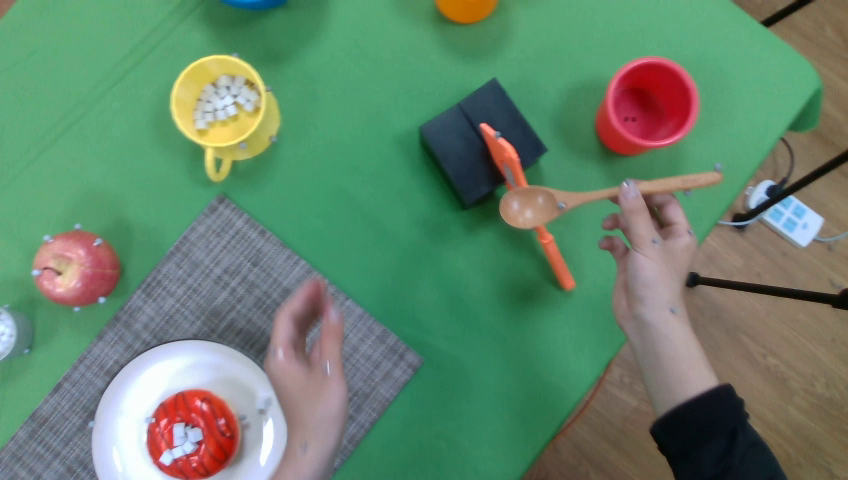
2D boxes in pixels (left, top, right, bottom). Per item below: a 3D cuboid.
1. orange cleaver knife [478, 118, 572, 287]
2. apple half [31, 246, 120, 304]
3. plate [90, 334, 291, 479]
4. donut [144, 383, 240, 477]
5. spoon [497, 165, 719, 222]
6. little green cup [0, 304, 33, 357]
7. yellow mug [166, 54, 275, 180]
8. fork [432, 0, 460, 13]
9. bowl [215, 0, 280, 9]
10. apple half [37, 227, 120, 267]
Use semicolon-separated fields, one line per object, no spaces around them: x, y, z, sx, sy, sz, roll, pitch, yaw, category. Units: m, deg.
0.110;-0.037;0.656;0.012;0.076;0.213;-32;118;-2;orange cleaver knife
-0.376;0.041;0.650;0.081;0.074;0.053;19;89;-3;apple half
-0.246;0.204;0.652;0.209;0.038;0.208;0;86;-1;plate
-0.245;0.201;0.641;0.099;0.048;0.099;0;87;-2;donut
0.162;-0.046;0.547;0.193;0.022;0.041;-8;80;19;spoon
-0.464;0.099;0.660;0.061;0.038;0.061;0;86;-1;little green cup
-0.224;-0.131;0.668;0.100;0.064;0.130;7;86;-1;yellow mug
0.075;-0.329;0.647;0.028;0.018;0.208;49;130;5;fork
-0.194;-0.321;0.677;0.151;0.077;0.151;0;86;-1;bowl
-0.364;0.004;0.651;0.081;0.081;0.033;18;89;1;apple half
